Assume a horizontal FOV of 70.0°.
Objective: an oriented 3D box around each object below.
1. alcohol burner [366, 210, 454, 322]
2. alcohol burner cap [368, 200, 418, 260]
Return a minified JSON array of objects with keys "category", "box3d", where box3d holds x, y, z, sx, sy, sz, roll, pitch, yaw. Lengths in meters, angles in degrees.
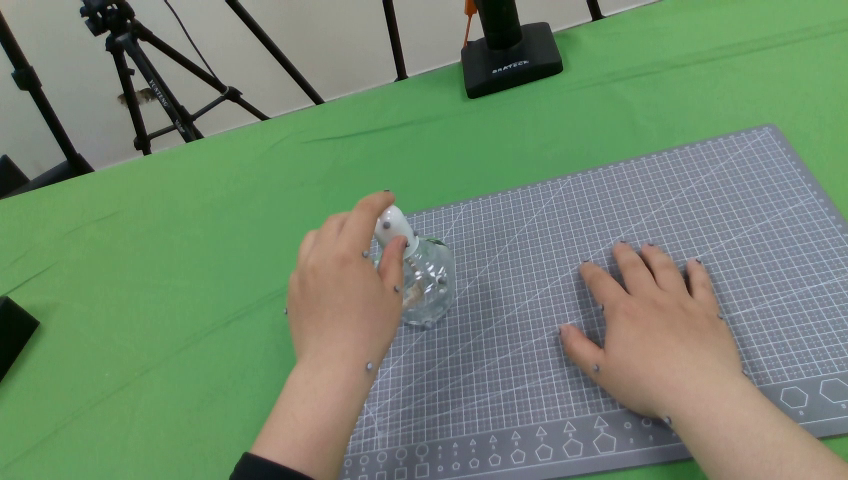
[{"category":"alcohol burner","box3d":[-0.016,0.014,0.502,0.078,0.120,0.077,-11,44,11]},{"category":"alcohol burner cap","box3d":[-0.026,-0.011,0.477,0.034,0.048,0.033,-10,49,12]}]
